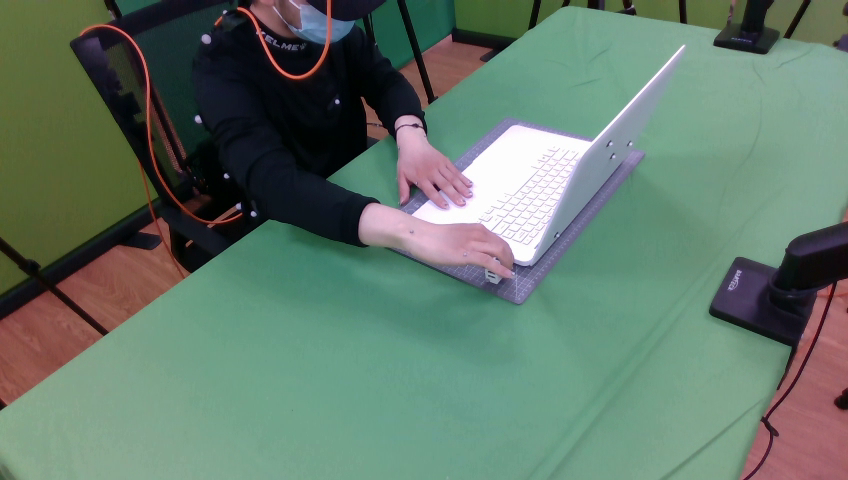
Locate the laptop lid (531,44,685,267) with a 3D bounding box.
[{"bbox_3d":[0.278,-0.129,0.906,0.013,0.242,0.357,34,52,17],"label":"laptop lid"}]

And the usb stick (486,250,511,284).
[{"bbox_3d":[0.113,0.035,0.891,0.021,0.027,0.059,17,45,27],"label":"usb stick"}]

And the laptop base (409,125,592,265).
[{"bbox_3d":[0.168,-0.093,1.055,0.233,0.023,0.355,19,47,33],"label":"laptop base"}]
